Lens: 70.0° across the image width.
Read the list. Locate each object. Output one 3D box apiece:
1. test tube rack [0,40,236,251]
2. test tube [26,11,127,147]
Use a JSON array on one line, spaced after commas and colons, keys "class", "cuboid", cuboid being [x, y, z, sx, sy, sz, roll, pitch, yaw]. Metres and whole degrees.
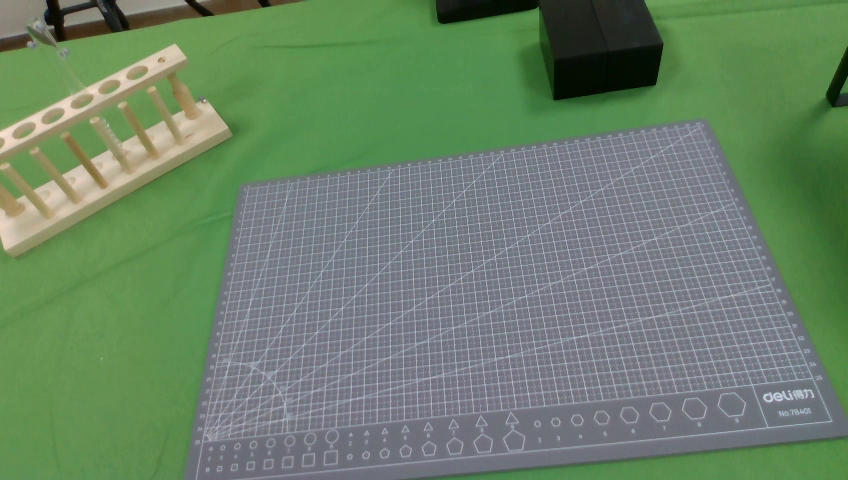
[{"class": "test tube rack", "cuboid": [-0.324, -0.096, 0.606, 0.242, 0.086, 0.066, -33, 55, -14]}, {"class": "test tube", "cuboid": [-0.328, -0.147, 0.581, 0.017, 0.152, 0.017, -5, 49, 6]}]
